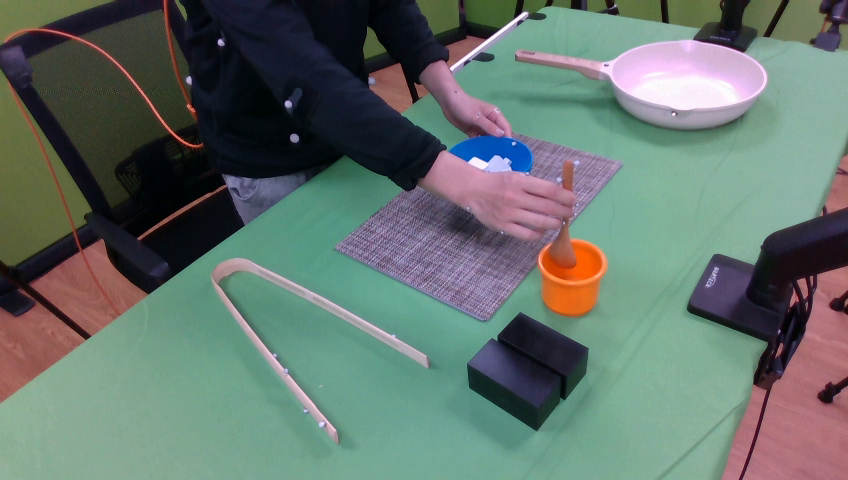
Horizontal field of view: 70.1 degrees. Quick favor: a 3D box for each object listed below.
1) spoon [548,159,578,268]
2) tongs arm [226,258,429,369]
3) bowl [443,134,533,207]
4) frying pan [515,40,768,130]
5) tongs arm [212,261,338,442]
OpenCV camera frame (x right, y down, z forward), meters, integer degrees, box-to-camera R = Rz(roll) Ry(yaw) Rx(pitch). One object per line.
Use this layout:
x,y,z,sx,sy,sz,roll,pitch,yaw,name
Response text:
0.178,-0.027,0.760,0.041,0.194,0.021,20,51,27,spoon
-0.151,0.098,0.873,0.384,0.028,0.028,22,50,30,tongs arm
0.110,-0.109,1.029,0.151,0.077,0.150,-4,40,4,bowl
0.423,-0.338,1.236,0.486,0.103,0.307,16,44,13,frying pan
-0.208,0.136,0.830,0.051,0.026,0.381,-31,45,-28,tongs arm
